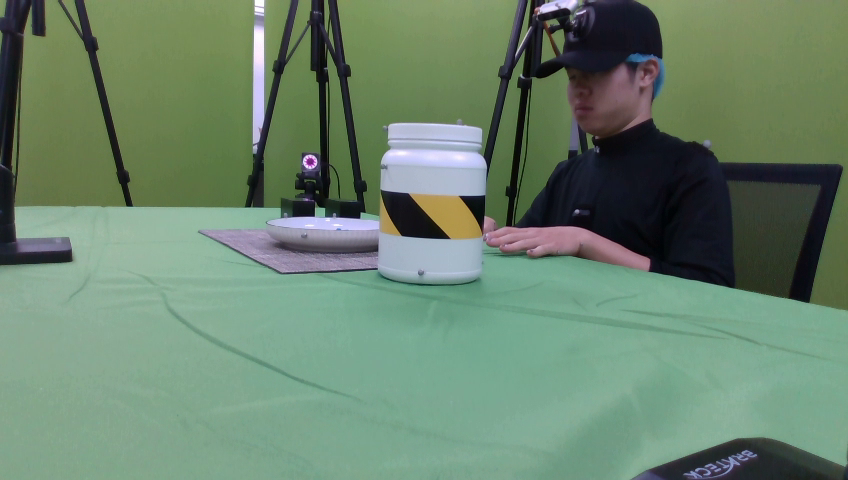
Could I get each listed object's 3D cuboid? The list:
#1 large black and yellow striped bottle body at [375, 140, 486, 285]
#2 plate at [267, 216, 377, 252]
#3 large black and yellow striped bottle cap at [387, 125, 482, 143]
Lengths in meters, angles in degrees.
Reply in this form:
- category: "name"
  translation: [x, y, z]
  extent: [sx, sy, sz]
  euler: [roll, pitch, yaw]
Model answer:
- category: "large black and yellow striped bottle body"
  translation: [0.008, -0.044, 0.744]
  extent: [0.131, 0.184, 0.130]
  euler: [3, 7, 0]
- category: "plate"
  translation: [-0.145, -0.010, 0.967]
  extent: [0.208, 0.039, 0.207]
  euler: [2, 7, 0]
- category: "large black and yellow striped bottle cap"
  translation: [0.012, -0.127, 0.731]
  extent: [0.115, 0.019, 0.115]
  euler: [1, 6, 0]
